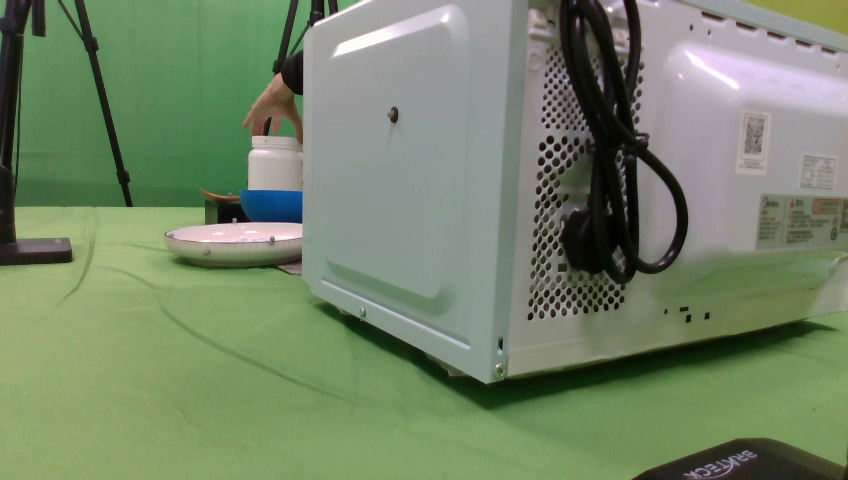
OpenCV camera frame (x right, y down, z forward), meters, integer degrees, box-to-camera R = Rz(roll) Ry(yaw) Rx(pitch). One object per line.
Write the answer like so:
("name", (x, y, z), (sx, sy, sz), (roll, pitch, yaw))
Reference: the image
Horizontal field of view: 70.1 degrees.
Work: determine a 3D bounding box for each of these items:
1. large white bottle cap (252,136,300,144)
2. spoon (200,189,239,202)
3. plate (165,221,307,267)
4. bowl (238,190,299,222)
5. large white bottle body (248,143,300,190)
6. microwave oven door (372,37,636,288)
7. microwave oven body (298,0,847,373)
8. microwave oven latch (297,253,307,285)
("large white bottle cap", (-0.337, -0.228, 1.391), (0.115, 0.018, 0.115), (1, 8, 0))
("spoon", (-0.339, -0.080, 1.189), (0.194, 0.021, 0.041), (5, 0, -19))
("plate", (-0.241, 0.004, 0.829), (0.209, 0.038, 0.209), (0, 9, 0))
("bowl", (-0.245, -0.045, 1.052), (0.151, 0.077, 0.151), (2, 7, 0))
("large white bottle body", (-0.340, -0.144, 1.402), (0.131, 0.184, 0.130), (2, 7, 0))
("microwave oven door", (0.109, -0.080, 0.686), (0.358, 0.243, 0.039), (-2, 9, -33))
("microwave oven body", (0.151, -0.055, 0.542), (0.444, 0.260, 0.324), (-1, 7, -33))
("microwave oven latch", (-0.082, 0.027, 0.582), (0.079, 0.029, 0.030), (-1, 7, -32))
